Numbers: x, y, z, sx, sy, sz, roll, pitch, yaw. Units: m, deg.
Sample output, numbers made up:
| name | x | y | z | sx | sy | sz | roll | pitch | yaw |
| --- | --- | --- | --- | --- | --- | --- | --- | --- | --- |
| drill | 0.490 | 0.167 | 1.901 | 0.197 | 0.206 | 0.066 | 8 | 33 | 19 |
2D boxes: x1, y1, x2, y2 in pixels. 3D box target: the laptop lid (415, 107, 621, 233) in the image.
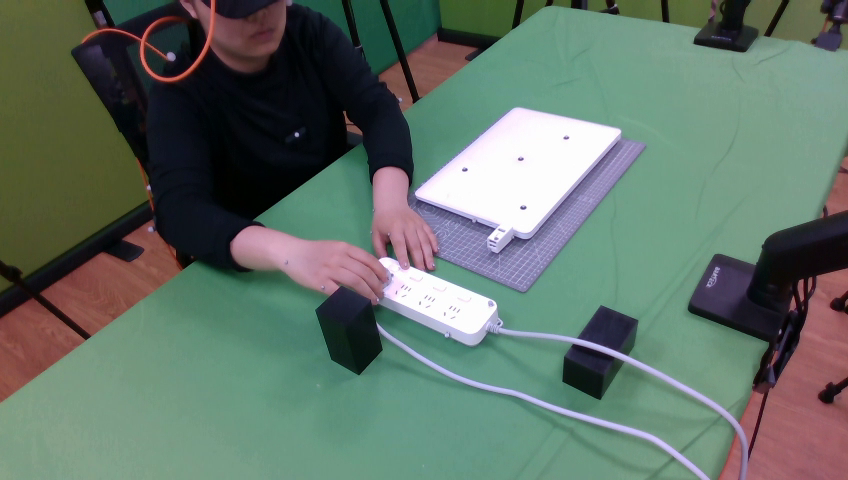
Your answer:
| name | x | y | z | sx | sy | sz | roll | pitch | yaw |
| --- | --- | --- | --- | --- | --- | --- | --- | --- | --- |
| laptop lid | 0.175 | -0.144 | 1.094 | 0.239 | 0.013 | 0.358 | 23 | 49 | 33 |

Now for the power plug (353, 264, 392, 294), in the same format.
| name | x | y | z | sx | sy | sz | roll | pitch | yaw |
| --- | --- | --- | --- | --- | --- | --- | --- | --- | --- |
| power plug | -0.078 | 0.063 | 0.867 | 0.073 | 0.053 | 0.035 | -36 | 47 | -27 |

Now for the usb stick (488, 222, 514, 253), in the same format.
| name | x | y | z | sx | sy | sz | roll | pitch | yaw |
| --- | --- | --- | --- | --- | --- | --- | --- | --- | --- |
| usb stick | 0.124 | -0.008 | 0.944 | 0.021 | 0.027 | 0.059 | 25 | 47 | 31 |

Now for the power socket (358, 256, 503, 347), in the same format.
| name | x | y | z | sx | sy | sz | roll | pitch | yaw |
| --- | --- | --- | --- | --- | --- | --- | --- | --- | --- |
| power socket | 0.003 | 0.084 | 0.862 | 0.225 | 0.033 | 0.072 | 22 | 50 | 29 |

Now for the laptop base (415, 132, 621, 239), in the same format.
| name | x | y | z | sx | sy | sz | roll | pitch | yaw |
| --- | --- | --- | --- | --- | --- | --- | --- | --- | --- |
| laptop base | 0.178 | -0.134 | 1.101 | 0.233 | 0.023 | 0.355 | 20 | 47 | 33 |
